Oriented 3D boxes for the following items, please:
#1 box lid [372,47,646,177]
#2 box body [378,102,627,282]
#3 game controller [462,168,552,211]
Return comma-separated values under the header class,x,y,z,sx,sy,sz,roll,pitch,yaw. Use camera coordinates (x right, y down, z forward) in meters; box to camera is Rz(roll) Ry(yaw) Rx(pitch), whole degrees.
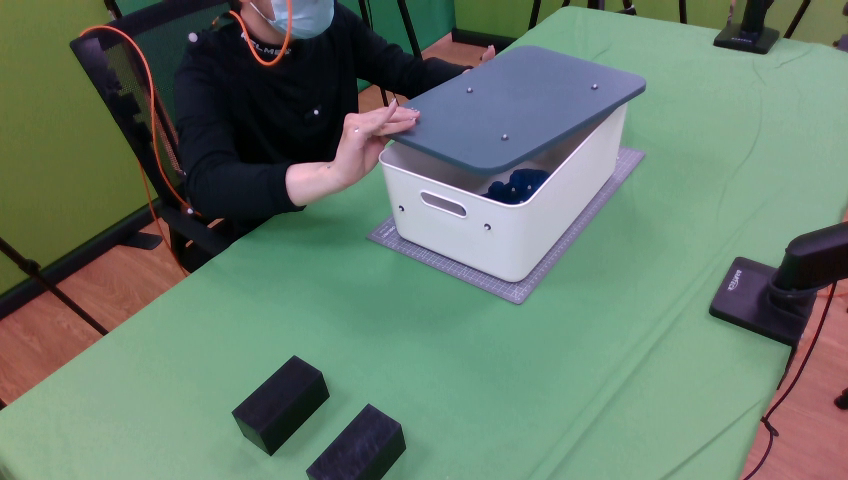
class,x,y,z,sx,sy,sz,roll,pitch,yaw
box lid,0.134,-0.211,0.918,0.373,0.015,0.261,-32,45,-30
box body,0.137,-0.121,0.978,0.252,0.161,0.365,22,48,30
game controller,0.147,-0.079,1.006,0.156,0.052,0.096,-30,51,-24
